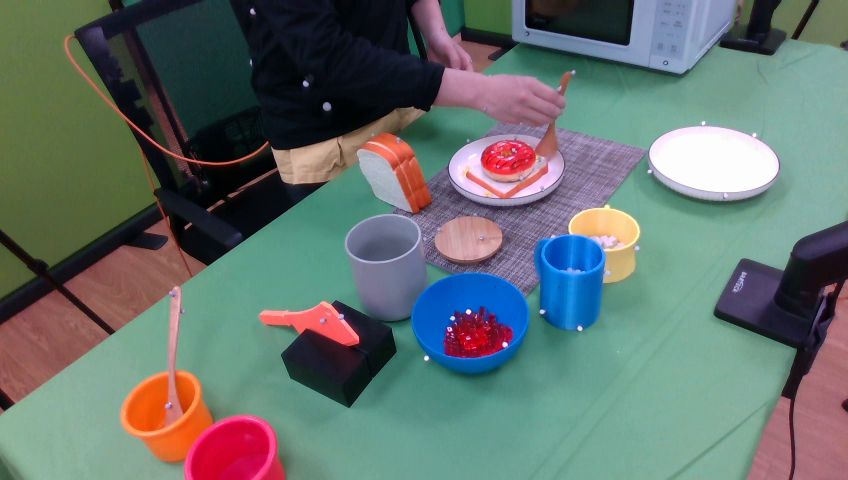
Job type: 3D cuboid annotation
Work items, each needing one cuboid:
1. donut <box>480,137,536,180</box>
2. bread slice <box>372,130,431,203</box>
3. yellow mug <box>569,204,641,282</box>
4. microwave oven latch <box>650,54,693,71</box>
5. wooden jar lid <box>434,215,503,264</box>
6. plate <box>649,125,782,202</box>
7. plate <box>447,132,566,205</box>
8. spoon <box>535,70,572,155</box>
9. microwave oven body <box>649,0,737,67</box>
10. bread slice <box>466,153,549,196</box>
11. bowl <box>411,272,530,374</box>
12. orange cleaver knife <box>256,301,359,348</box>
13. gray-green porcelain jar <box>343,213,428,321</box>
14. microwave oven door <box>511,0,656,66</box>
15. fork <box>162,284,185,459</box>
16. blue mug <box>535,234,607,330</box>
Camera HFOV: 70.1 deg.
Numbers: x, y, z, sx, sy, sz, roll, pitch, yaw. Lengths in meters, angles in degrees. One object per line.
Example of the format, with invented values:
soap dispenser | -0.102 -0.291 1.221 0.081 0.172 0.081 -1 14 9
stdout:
donut | 0.146 -0.144 1.056 0.099 0.048 0.098 -4 42 4
bread slice | -0.042 -0.127 1.039 0.106 0.135 0.018 29 62 33
yellow mug | 0.268 -0.005 0.904 0.099 0.064 0.130 7 42 15
microwave oven latch | 0.531 -0.386 1.301 0.078 0.029 0.030 25 51 33
wooden jar lid | 0.070 0.001 0.956 0.108 0.021 0.108 -4 40 4
plate | 0.493 -0.127 1.036 0.207 0.039 0.206 -4 41 4
plate | 0.146 -0.124 1.076 0.209 0.038 0.208 -4 41 4
spoon | 0.215 -0.205 0.998 0.042 0.194 0.021 -4 54 -4
microwave oven body | 0.475 -0.602 1.411 0.438 0.261 0.327 23 50 32
bread slice | 0.156 -0.130 1.083 0.132 0.019 0.104 -33 46 -25
bowl | 0.062 0.120 0.780 0.151 0.077 0.150 -4 40 4
orange cleaver knife | -0.160 0.115 0.813 0.210 0.077 0.012 -9 29 48
gray-green porcelain jar | -0.049 0.042 0.849 0.106 0.127 0.105 -4 41 4
microwave oven door | 0.351 -0.540 1.349 0.353 0.245 0.039 24 50 31
fork | -0.303 0.157 0.733 0.028 0.019 0.207 -3 84 13
blue mug | 0.190 0.048 0.824 0.082 0.106 0.115 -26 44 -20
